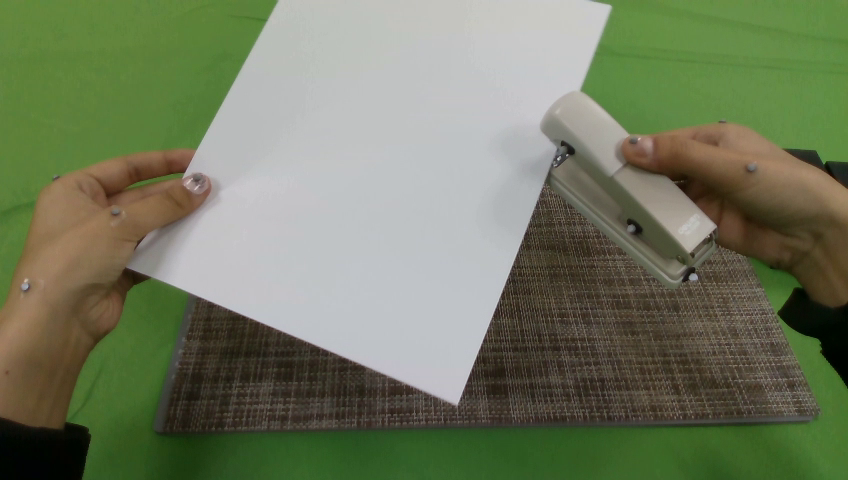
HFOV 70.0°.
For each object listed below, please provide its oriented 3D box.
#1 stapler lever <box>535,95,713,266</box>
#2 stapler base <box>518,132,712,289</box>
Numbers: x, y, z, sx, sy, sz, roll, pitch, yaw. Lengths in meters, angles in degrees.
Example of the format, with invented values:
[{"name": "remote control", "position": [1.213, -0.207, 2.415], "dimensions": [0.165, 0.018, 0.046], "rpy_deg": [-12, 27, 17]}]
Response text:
[{"name": "stapler lever", "position": [0.112, -0.037, 0.344], "dimensions": [0.027, 0.040, 0.117], "rpy_deg": [-43, 72, -7]}, {"name": "stapler base", "position": [0.113, -0.029, 0.367], "dimensions": [0.041, 0.024, 0.129], "rpy_deg": [-43, 72, -7]}]
